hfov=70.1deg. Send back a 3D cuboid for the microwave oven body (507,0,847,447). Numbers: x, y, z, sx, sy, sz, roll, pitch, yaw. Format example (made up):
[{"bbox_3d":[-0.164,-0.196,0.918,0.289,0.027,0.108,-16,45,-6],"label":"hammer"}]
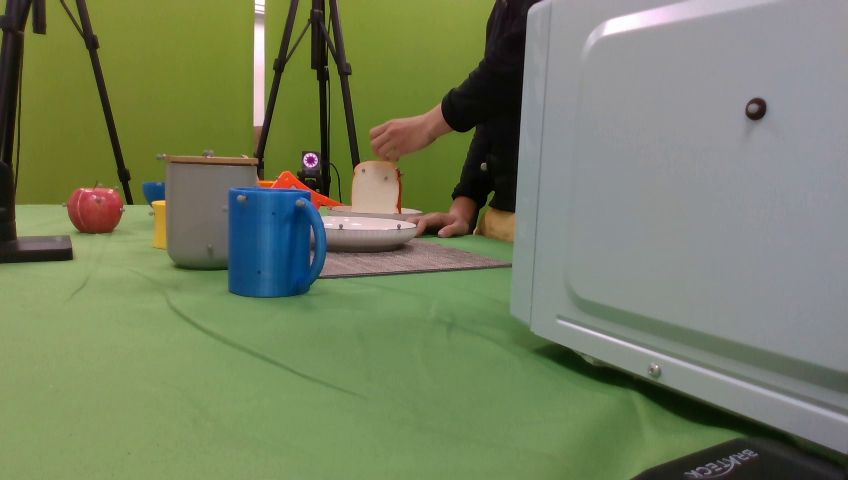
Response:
[{"bbox_3d":[0.331,-0.042,0.425,0.444,0.260,0.324,-2,8,-31],"label":"microwave oven body"}]

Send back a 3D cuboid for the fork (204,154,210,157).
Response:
[{"bbox_3d":[-0.480,-0.135,1.412,0.028,0.018,0.207,0,-34,-1],"label":"fork"}]

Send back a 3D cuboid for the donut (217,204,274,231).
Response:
[{"bbox_3d":[-0.317,-0.038,1.080,0.099,0.048,0.099,3,7,0],"label":"donut"}]

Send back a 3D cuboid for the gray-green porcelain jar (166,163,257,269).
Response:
[{"bbox_3d":[-0.263,-0.031,0.754,0.106,0.126,0.106,2,7,0],"label":"gray-green porcelain jar"}]

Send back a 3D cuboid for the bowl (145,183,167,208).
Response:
[{"bbox_3d":[-0.459,-0.068,1.175,0.151,0.077,0.151,3,7,0],"label":"bowl"}]

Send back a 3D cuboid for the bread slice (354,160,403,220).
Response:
[{"bbox_3d":[-0.096,-0.110,1.324,0.105,0.131,0.019,5,2,5],"label":"bread slice"}]

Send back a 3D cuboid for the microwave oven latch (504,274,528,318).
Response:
[{"bbox_3d":[0.100,0.041,0.471,0.079,0.029,0.030,-1,8,-28],"label":"microwave oven latch"}]

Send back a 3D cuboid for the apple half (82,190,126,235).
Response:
[{"bbox_3d":[-0.516,-0.046,0.994,0.032,0.081,0.081,0,6,26],"label":"apple half"}]

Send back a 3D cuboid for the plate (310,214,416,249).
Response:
[{"bbox_3d":[-0.117,-0.014,0.967,0.208,0.039,0.207,2,7,0],"label":"plate"}]

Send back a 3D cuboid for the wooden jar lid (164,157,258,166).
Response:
[{"bbox_3d":[-0.261,-0.093,0.746,0.108,0.020,0.108,0,9,0],"label":"wooden jar lid"}]

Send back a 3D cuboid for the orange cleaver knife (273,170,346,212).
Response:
[{"bbox_3d":[-0.253,-0.089,1.368,0.212,0.077,0.012,26,-8,-42],"label":"orange cleaver knife"}]

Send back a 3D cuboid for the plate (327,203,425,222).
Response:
[{"bbox_3d":[-0.102,-0.053,1.299,0.209,0.038,0.209,2,8,0],"label":"plate"}]

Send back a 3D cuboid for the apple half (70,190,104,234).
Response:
[{"bbox_3d":[-0.552,-0.047,1.009,0.053,0.074,0.081,-1,9,26],"label":"apple half"}]

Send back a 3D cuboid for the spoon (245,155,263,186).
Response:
[{"bbox_3d":[-0.421,-0.150,1.540,0.042,0.021,0.193,-5,55,-37],"label":"spoon"}]

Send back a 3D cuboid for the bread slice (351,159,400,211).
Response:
[{"bbox_3d":[-0.102,-0.104,1.273,0.107,0.134,0.018,-1,4,4],"label":"bread slice"}]

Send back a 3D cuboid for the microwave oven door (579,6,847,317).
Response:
[{"bbox_3d":[0.294,-0.067,0.570,0.358,0.243,0.039,-3,9,-31],"label":"microwave oven door"}]

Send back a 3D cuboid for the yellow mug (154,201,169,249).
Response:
[{"bbox_3d":[-0.337,-0.022,0.899,0.130,0.064,0.100,8,9,34],"label":"yellow mug"}]

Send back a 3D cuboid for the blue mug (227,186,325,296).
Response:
[{"bbox_3d":[-0.146,0.000,0.618,0.116,0.106,0.083,7,9,32],"label":"blue mug"}]
